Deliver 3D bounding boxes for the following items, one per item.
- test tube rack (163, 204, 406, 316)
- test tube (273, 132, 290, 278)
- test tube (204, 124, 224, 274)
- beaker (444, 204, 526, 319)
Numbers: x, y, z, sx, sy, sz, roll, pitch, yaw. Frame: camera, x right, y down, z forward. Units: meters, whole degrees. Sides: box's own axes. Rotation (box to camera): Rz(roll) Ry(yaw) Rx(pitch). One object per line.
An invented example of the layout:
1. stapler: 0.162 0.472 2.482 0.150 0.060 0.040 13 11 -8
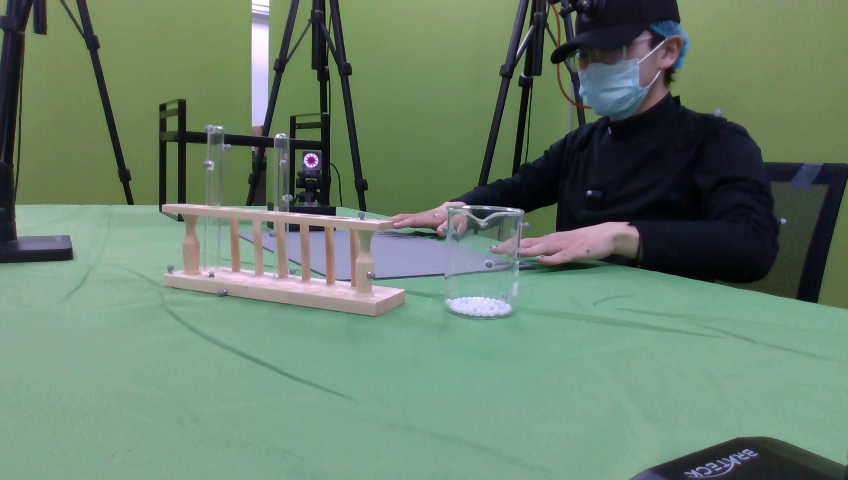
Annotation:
1. test tube rack: -0.141 0.013 0.601 0.241 0.085 0.067 5 8 21
2. test tube: -0.146 -0.034 0.617 0.017 0.150 0.017 2 8 0
3. test tube: -0.210 -0.039 0.604 0.017 0.150 0.017 5 10 -1
4. beaker: 0.055 0.019 0.563 0.074 0.100 0.084 3 8 8
